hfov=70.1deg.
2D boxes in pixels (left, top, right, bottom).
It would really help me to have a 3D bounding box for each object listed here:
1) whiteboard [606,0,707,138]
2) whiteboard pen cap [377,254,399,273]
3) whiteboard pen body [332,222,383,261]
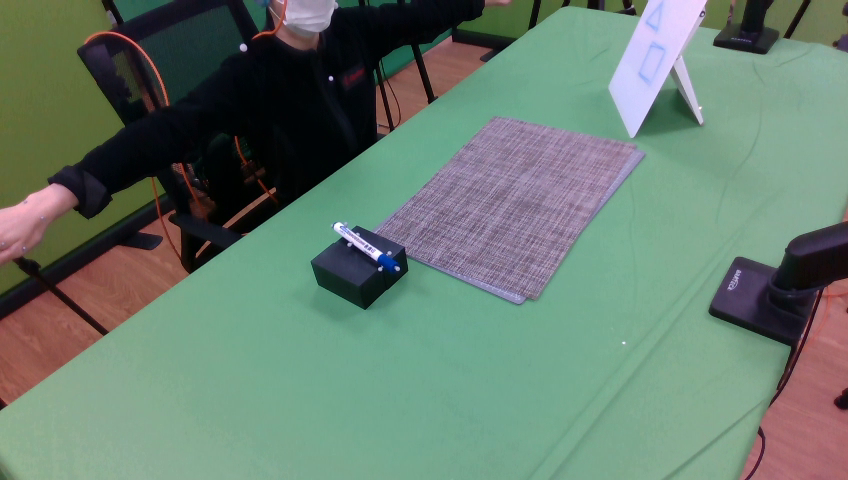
[{"bbox_3d":[0.496,-0.359,1.147,0.144,0.305,0.216,11,40,-7],"label":"whiteboard"},{"bbox_3d":[-0.052,0.033,0.869,0.018,0.018,0.033,-34,46,-28],"label":"whiteboard pen cap"},{"bbox_3d":[-0.093,0.006,0.905,0.017,0.017,0.139,-34,47,-28],"label":"whiteboard pen body"}]
